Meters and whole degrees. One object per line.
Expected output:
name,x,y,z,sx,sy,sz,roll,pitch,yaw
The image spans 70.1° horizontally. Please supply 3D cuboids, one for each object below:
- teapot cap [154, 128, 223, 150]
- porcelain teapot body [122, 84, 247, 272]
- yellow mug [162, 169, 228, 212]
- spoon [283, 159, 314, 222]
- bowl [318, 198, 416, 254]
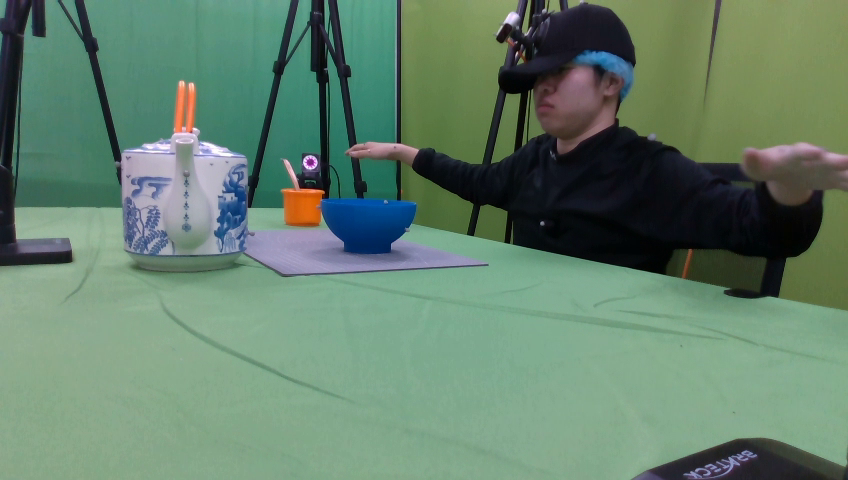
teapot cap,-0.294,-0.117,0.754,0.085,0.044,0.085,4,9,0
porcelain teapot body,-0.286,-0.075,0.733,0.146,0.225,0.204,0,8,-24
yellow mug,-0.366,-0.082,0.995,0.100,0.064,0.131,5,7,16
spoon,-0.280,-0.110,1.323,0.042,0.193,0.021,1,-38,-35
bowl,-0.089,-0.022,0.941,0.151,0.077,0.151,2,7,0
